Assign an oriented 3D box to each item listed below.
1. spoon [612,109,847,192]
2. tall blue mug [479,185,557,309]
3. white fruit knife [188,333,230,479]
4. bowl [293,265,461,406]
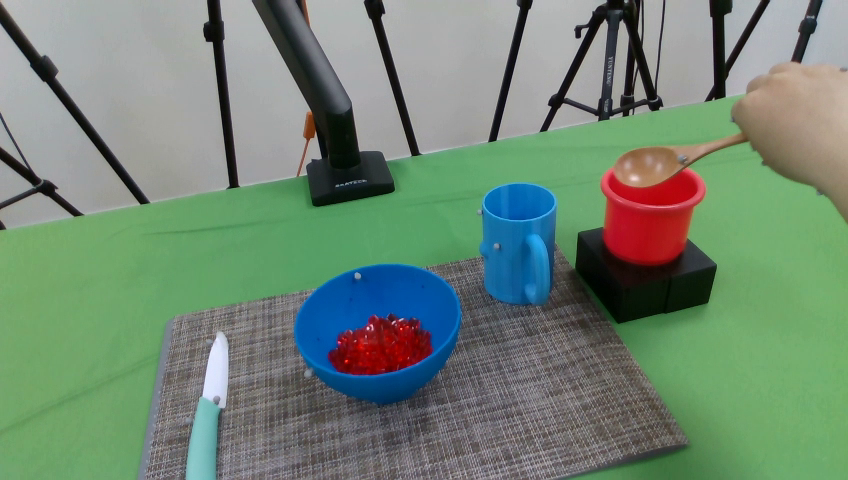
[{"bbox_3d":[0.255,-0.077,0.503,0.193,0.022,0.041,-14,61,31],"label":"spoon"},{"bbox_3d":[0.111,0.013,0.637,0.078,0.109,0.106,-28,41,-29],"label":"tall blue mug"},{"bbox_3d":[-0.196,0.156,0.562,0.027,0.016,0.205,16,27,-22],"label":"white fruit knife"},{"bbox_3d":[-0.039,0.100,0.562,0.151,0.077,0.150,-4,35,3],"label":"bowl"}]
